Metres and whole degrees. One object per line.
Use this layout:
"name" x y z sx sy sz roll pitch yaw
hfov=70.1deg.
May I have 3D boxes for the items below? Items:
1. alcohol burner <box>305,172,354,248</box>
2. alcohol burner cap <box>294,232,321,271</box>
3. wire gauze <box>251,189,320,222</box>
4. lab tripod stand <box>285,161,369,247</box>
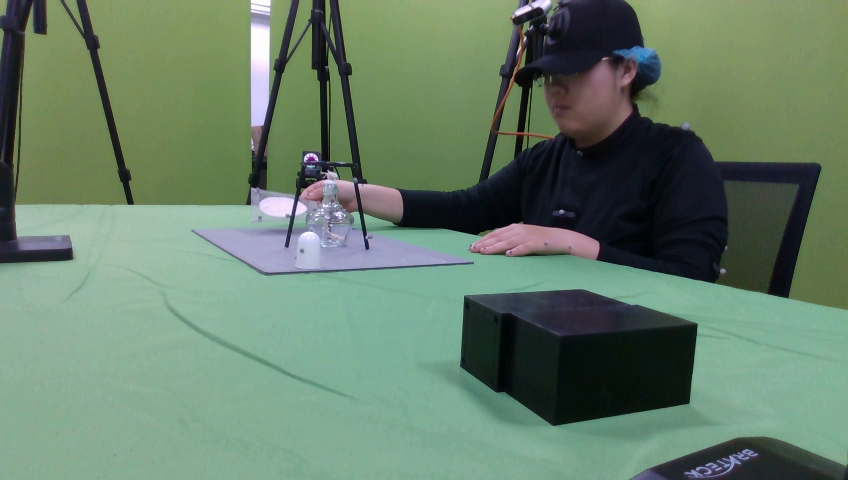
"alcohol burner" -0.148 -0.048 0.949 0.078 0.119 0.078 1 6 0
"alcohol burner cap" -0.144 0.013 0.748 0.034 0.048 0.034 3 6 0
"wire gauze" -0.256 -0.063 1.115 0.122 0.011 0.124 2 28 -17
"lab tripod stand" -0.151 -0.058 0.947 0.148 0.131 0.148 1 6 0
